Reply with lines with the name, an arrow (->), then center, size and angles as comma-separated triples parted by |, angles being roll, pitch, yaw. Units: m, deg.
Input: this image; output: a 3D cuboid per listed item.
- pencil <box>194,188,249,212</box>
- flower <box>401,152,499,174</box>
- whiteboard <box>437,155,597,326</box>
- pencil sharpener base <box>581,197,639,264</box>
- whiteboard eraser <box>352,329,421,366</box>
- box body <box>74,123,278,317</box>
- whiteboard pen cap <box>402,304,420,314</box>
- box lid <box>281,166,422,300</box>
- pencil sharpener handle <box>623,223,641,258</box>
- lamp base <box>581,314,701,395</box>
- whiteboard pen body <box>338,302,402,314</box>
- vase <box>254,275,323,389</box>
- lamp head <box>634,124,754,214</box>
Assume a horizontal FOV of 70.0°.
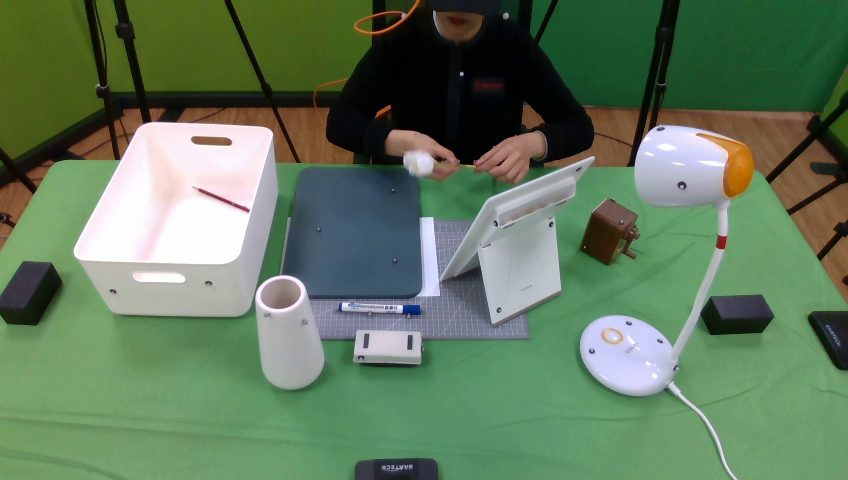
pencil -> -0.397, -0.076, 1.243 | 0.193, 0.012, 0.012 | 21, 49, 17
flower -> 0.069, -0.152, 1.199 | 0.044, 0.038, 0.362 | 40, 25, 22
whiteboard -> 0.180, 0.023, 1.029 | 0.217, 0.306, 0.143 | -22, 71, -23
pencil sharpener base -> 0.362, -0.016, 1.178 | 0.076, 0.107, 0.061 | 35, 53, 26
whiteboard eraser -> -0.061, 0.179, 1.005 | 0.113, 0.042, 0.055 | 3, 48, -3
box body -> -0.421, -0.041, 1.108 | 0.254, 0.161, 0.361 | 2, 46, -3
whiteboard pen cap -> -0.024, 0.123, 1.076 | 0.033, 0.018, 0.018 | 1, 46, 1
box lid -> -0.139, -0.029, 1.219 | 0.263, 0.015, 0.369 | 1, 46, -4
pencil sharpener handle -> 0.399, 0.002, 1.146 | 0.030, 0.068, 0.036 | 35, 45, 26
lamp base -> 0.361, 0.144, 0.973 | 0.178, 0.181, 0.160 | 34, 53, 23
whiteboard pen body -> -0.083, 0.121, 1.074 | 0.141, 0.017, 0.017 | 3, 46, -2
vase -> -0.209, 0.142, 0.921 | 0.098, 0.201, 0.097 | 1, 46, -1
lamp head -> 0.351, -0.089, 0.776 | 0.112, 0.113, 0.122 | -30, 30, -28
